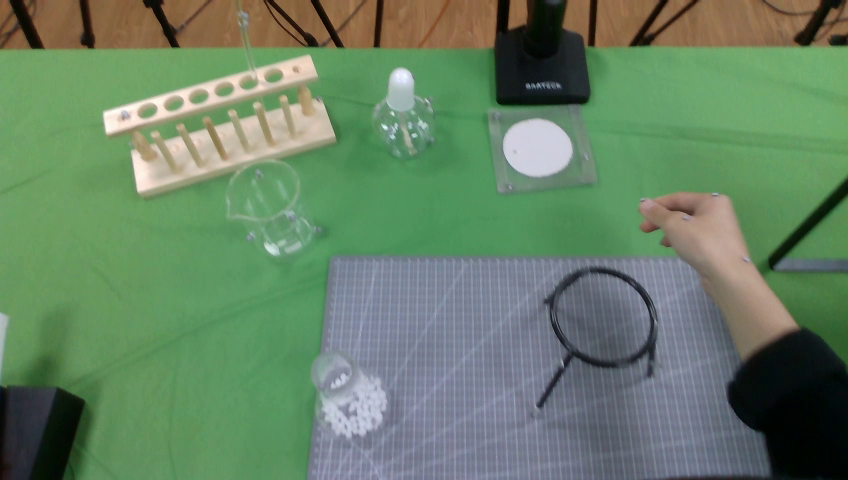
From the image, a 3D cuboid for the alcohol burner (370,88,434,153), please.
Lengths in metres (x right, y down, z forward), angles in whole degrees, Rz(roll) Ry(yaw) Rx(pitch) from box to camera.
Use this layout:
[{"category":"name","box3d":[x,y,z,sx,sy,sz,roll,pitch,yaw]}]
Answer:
[{"category":"alcohol burner","box3d":[-0.026,-0.158,0.713,0.078,0.120,0.077,0,61,1]}]

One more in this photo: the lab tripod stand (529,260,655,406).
[{"category":"lab tripod stand","box3d":[0.155,0.086,0.568,0.148,0.132,0.147,0,61,0]}]

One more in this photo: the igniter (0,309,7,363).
[{"category":"igniter","box3d":[-0.404,0.191,0.539,0.057,0.025,0.274,-16,62,6]}]

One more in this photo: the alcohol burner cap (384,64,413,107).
[{"category":"alcohol burner cap","box3d":[-0.027,-0.177,0.681,0.034,0.048,0.033,3,62,-6]}]

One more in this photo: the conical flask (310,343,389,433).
[{"category":"conical flask","box3d":[-0.075,0.130,0.558,0.075,0.123,0.074,-1,62,2]}]

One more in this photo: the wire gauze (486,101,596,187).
[{"category":"wire gauze","box3d":[0.143,-0.123,0.749,0.121,0.011,0.124,-4,63,-2]}]

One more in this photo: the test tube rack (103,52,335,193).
[{"category":"test tube rack","box3d":[-0.238,-0.139,0.723,0.242,0.086,0.066,-18,64,-8]}]

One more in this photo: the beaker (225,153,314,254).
[{"category":"beaker","box3d":[-0.165,-0.033,0.660,0.084,0.101,0.073,-39,67,-16]}]

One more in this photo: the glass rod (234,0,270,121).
[{"category":"glass rod","box3d":[-0.191,-0.201,0.679,0.008,0.201,0.008,2,61,-3]}]
